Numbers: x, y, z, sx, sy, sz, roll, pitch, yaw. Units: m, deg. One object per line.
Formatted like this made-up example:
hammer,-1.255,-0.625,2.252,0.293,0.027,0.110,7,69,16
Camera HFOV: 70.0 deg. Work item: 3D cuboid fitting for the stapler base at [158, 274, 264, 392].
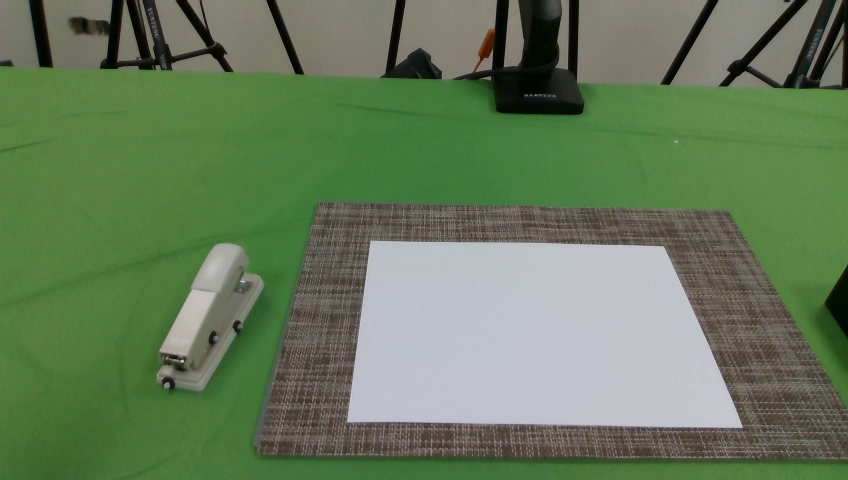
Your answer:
stapler base,-0.180,0.069,0.518,0.041,0.024,0.129,7,42,9

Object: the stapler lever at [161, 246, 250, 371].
stapler lever,-0.179,0.051,0.501,0.027,0.040,0.117,7,41,9
